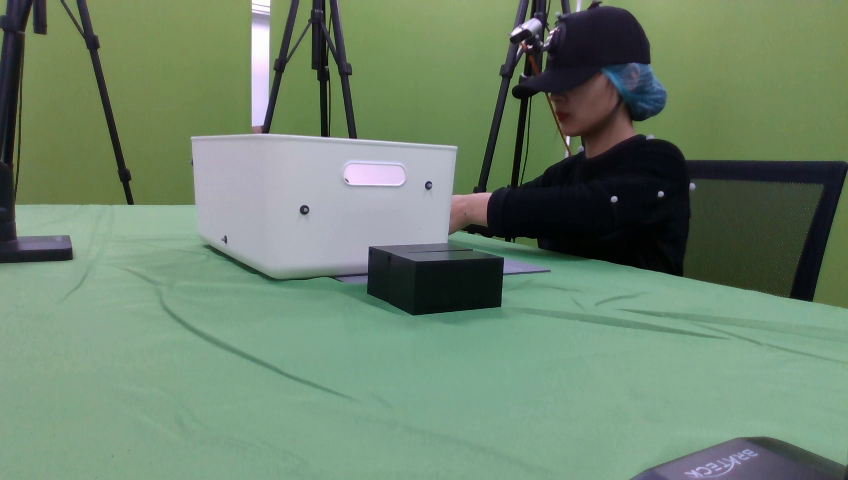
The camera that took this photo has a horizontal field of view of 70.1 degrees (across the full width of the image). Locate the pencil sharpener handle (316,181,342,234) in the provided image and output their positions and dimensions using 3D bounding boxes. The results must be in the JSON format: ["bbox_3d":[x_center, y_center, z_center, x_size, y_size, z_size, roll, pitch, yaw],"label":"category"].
[{"bbox_3d":[-0.119,-0.042,0.787,0.036,0.067,0.030,2,7,-31],"label":"pencil sharpener handle"}]

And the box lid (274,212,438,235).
[{"bbox_3d":[-0.156,-0.038,1.282,0.264,0.015,0.370,-1,7,-25],"label":"box lid"}]

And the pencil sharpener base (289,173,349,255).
[{"bbox_3d":[-0.145,-0.037,0.832,0.062,0.107,0.076,-1,8,-31],"label":"pencil sharpener base"}]

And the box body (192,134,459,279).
[{"bbox_3d":[-0.154,-0.059,0.840,0.255,0.160,0.362,-2,9,-33],"label":"box body"}]
